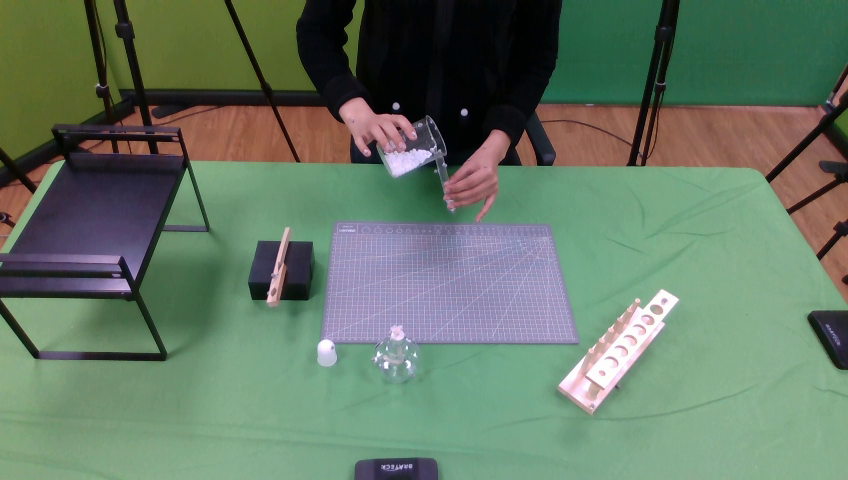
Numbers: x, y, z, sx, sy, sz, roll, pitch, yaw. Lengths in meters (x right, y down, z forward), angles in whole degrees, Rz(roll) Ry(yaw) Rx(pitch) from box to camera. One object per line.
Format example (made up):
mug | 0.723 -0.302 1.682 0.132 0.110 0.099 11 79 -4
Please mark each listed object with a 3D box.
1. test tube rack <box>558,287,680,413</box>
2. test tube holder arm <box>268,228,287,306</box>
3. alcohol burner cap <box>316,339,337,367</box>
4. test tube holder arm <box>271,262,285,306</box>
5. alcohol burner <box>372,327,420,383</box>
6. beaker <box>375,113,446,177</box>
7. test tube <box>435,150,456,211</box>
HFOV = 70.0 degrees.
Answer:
test tube rack | 0.326 0.170 1.009 0.066 0.085 0.242 36 54 27
test tube holder arm | -0.258 0.043 1.071 0.013 0.015 0.177 -6 46 1
alcohol burner cap | -0.161 0.182 0.995 0.034 0.048 0.033 2 47 -2
test tube holder arm | -0.250 0.075 1.040 0.010 0.015 0.087 -5 46 2
alcohol burner | -0.044 0.175 0.961 0.078 0.120 0.077 1 48 -1
beaker | -0.023 -0.153 1.005 0.100 0.084 0.073 -27 57 -5
test tube | 0.039 -0.105 1.102 0.017 0.151 0.017 -7 51 9
